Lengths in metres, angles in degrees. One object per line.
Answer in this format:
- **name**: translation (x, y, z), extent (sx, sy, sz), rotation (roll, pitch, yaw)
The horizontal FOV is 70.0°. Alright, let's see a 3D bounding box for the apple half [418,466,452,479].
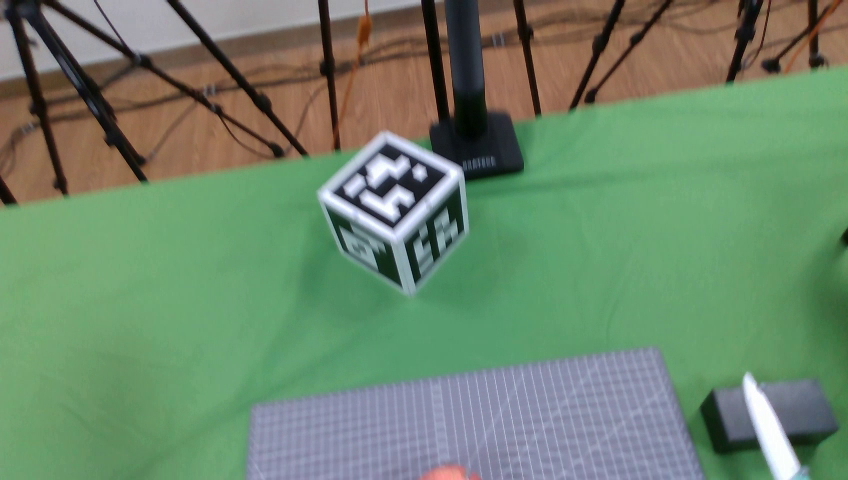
- **apple half**: translation (0.009, 0.260, 0.572), extent (0.053, 0.075, 0.080), rotation (-12, 60, 5)

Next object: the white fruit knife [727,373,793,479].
- **white fruit knife**: translation (0.316, 0.215, 0.541), extent (0.027, 0.016, 0.205), rotation (-14, 55, 9)

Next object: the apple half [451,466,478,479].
- **apple half**: translation (0.047, 0.252, 0.570), extent (0.033, 0.082, 0.080), rotation (-12, 55, 5)
